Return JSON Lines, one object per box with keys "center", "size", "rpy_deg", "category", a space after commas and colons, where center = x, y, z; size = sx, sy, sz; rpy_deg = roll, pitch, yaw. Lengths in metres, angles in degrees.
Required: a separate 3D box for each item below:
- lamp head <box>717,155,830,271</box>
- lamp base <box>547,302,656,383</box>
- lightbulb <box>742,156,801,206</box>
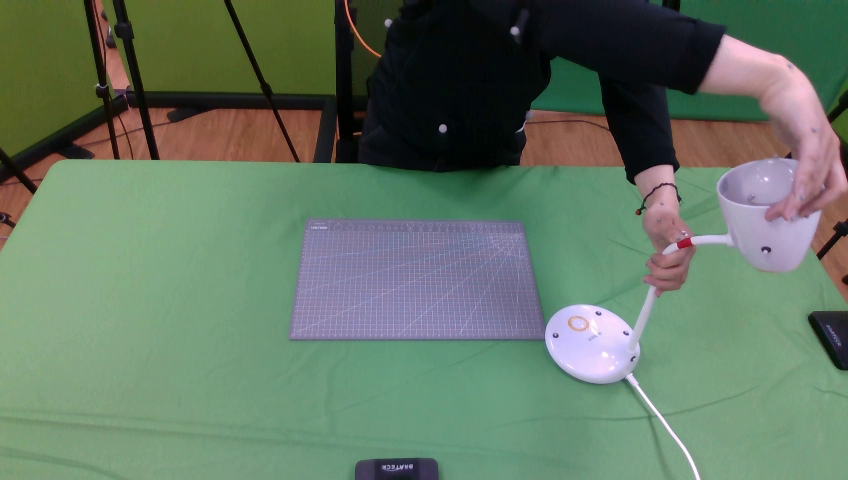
{"center": [0.409, -0.023, 0.718], "size": [0.112, 0.123, 0.112], "rpy_deg": [-13, 33, 8], "category": "lamp head"}
{"center": [0.304, 0.128, 0.982], "size": [0.160, 0.181, 0.178], "rpy_deg": [-33, 59, -29], "category": "lamp base"}
{"center": [0.407, -0.046, 0.708], "size": [0.059, 0.108, 0.059], "rpy_deg": [-15, 22, 7], "category": "lightbulb"}
